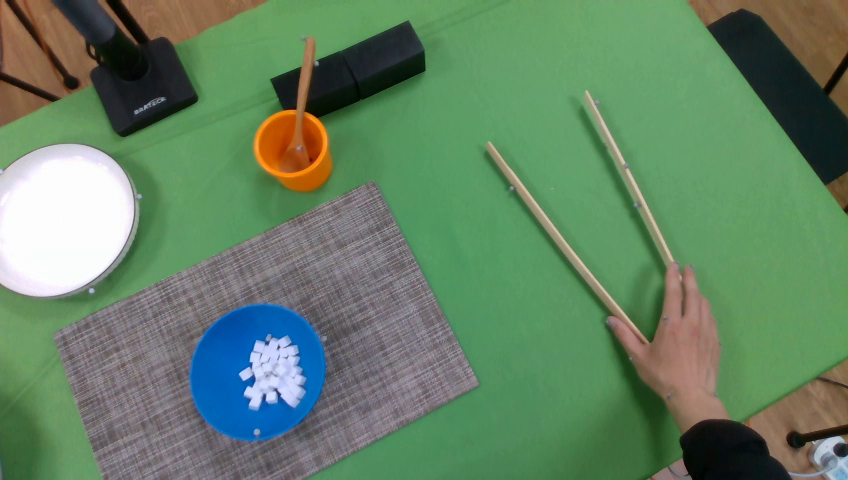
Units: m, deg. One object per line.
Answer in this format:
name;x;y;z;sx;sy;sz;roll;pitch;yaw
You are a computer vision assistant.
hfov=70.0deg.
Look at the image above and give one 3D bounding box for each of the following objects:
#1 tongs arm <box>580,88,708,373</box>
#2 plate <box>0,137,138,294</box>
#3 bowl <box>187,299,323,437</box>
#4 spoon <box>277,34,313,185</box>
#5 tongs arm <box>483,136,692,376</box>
tongs arm;0.265;-0.020;0.769;0.051;0.026;0.382;-23;78;-5
plate;-0.469;-0.031;0.783;0.208;0.039;0.206;0;76;1
bowl;-0.186;0.150;0.707;0.151;0.077;0.150;0;75;1
spoon;-0.156;-0.158;0.754;0.041;0.195;0.021;22;32;10
tongs arm;0.194;0.017;0.764;0.028;0.028;0.385;-34;78;-11
